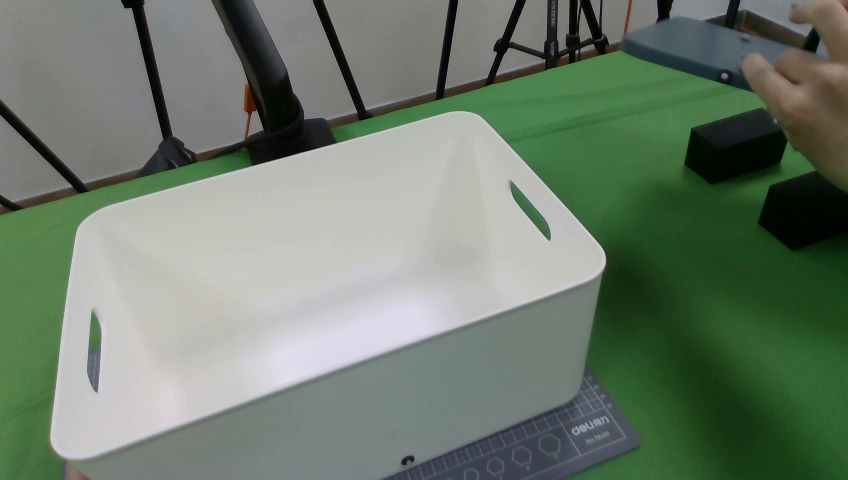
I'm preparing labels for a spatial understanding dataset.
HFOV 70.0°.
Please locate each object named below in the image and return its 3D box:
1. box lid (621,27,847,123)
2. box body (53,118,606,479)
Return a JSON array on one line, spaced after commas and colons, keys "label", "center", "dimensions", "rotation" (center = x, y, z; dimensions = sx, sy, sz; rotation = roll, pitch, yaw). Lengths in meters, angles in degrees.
[{"label": "box lid", "center": [0.371, -0.124, 0.519], "dimensions": [0.369, 0.015, 0.263], "rotation": [26, 31, 22]}, {"label": "box body", "center": [-0.070, 0.062, 0.507], "dimensions": [0.364, 0.162, 0.251], "rotation": [-18, 41, -12]}]
